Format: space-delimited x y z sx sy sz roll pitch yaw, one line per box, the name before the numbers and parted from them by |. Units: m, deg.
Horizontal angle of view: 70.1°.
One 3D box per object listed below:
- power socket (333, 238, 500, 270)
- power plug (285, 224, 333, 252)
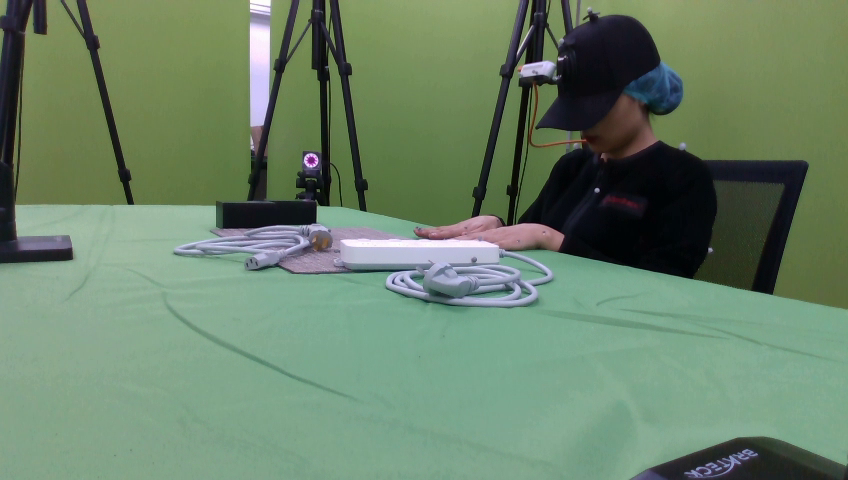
power socket | -0.005 0.018 0.798 0.227 0.032 0.072 1 8 -17
power plug | -0.171 0.000 0.898 0.072 0.035 0.052 -10 31 7
